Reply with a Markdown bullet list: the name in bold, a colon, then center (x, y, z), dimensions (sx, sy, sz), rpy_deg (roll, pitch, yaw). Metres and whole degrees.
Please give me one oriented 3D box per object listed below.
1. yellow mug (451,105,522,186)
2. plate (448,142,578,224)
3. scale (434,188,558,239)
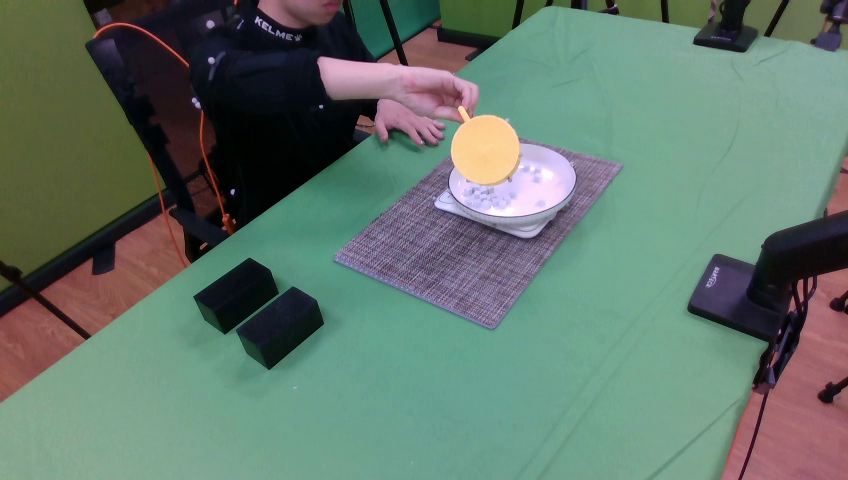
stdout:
- **yellow mug**: center (0.087, -0.145, 0.904), dimensions (0.100, 0.130, 0.064), rpy_deg (-31, -3, 10)
- **plate**: center (0.145, -0.089, 0.989), dimensions (0.209, 0.038, 0.208), rpy_deg (-4, 41, 4)
- **scale**: center (0.132, -0.075, 1.025), dimensions (0.199, 0.032, 0.149), rpy_deg (22, 48, 30)
